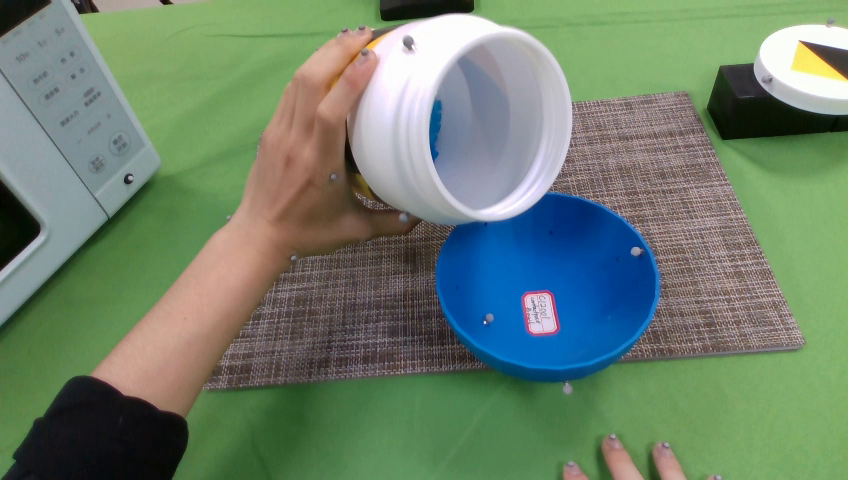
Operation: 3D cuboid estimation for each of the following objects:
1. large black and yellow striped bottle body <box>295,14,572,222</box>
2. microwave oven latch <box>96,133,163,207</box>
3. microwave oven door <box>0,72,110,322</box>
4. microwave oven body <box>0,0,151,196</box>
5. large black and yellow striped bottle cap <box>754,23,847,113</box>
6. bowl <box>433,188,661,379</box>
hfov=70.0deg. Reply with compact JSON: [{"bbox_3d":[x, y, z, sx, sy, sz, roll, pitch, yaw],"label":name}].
[{"bbox_3d":[0.000,-0.085,0.422,0.131,0.132,0.182,-34,29,-19],"label":"large black and yellow striped bottle body"},{"bbox_3d":[-0.288,-0.070,0.581,0.030,0.030,0.079,20,57,20],"label":"microwave oven latch"},{"bbox_3d":[-0.396,0.024,0.386,0.039,0.246,0.354,18,55,20],"label":"microwave oven door"},{"bbox_3d":[-0.507,-0.045,0.461,0.324,0.263,0.439,18,56,19],"label":"microwave oven body"},{"bbox_3d":[0.363,-0.158,0.549,0.115,0.019,0.114,-4,50,5],"label":"large black and yellow striped bottle cap"},{"bbox_3d":[0.084,0.043,0.440,0.151,0.077,0.150,-3,51,4],"label":"bowl"}]
